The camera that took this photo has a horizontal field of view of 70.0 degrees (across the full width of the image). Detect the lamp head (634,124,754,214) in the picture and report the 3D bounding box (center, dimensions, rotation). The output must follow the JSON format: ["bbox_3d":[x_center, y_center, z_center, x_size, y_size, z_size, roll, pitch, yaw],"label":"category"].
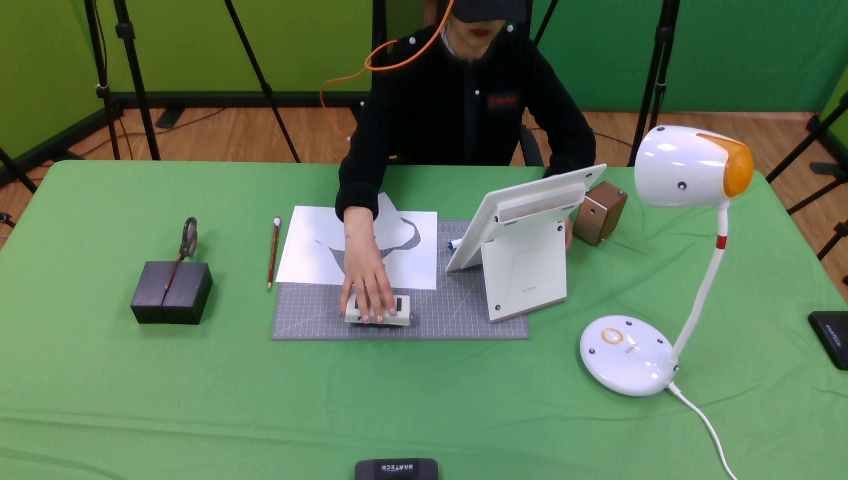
[{"bbox_3d":[0.351,-0.089,0.775,0.112,0.113,0.122,-30,30,-28],"label":"lamp head"}]

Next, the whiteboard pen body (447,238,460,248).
[{"bbox_3d":[0.112,-0.005,1.203,0.141,0.017,0.017,-14,49,-18],"label":"whiteboard pen body"}]

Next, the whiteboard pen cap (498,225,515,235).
[{"bbox_3d":[0.166,-0.019,1.222,0.033,0.018,0.018,-16,50,-18],"label":"whiteboard pen cap"}]

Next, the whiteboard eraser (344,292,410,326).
[{"bbox_3d":[-0.081,0.122,1.053,0.113,0.042,0.055,2,40,-3],"label":"whiteboard eraser"}]

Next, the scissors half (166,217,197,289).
[{"bbox_3d":[-0.436,0.020,1.086,0.013,0.040,0.174,6,47,-7],"label":"scissors half"}]

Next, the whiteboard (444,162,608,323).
[{"bbox_3d":[0.186,0.025,1.029,0.217,0.306,0.143,-14,68,-18],"label":"whiteboard"}]

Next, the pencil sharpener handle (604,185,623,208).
[{"bbox_3d":[0.390,-0.091,1.235,0.030,0.068,0.036,-33,70,-31],"label":"pencil sharpener handle"}]

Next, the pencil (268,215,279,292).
[{"bbox_3d":[-0.290,0.023,1.164,0.012,0.012,0.192,-2,48,-6],"label":"pencil"}]

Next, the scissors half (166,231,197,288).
[{"bbox_3d":[-0.440,0.036,1.098,0.013,0.040,0.174,11,28,-9],"label":"scissors half"}]

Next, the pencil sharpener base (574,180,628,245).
[{"bbox_3d":[0.356,-0.056,1.217,0.076,0.107,0.061,-33,56,-31],"label":"pencil sharpener base"}]

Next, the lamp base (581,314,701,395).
[{"bbox_3d":[0.361,0.145,0.973,0.178,0.181,0.160,34,53,23],"label":"lamp base"}]
